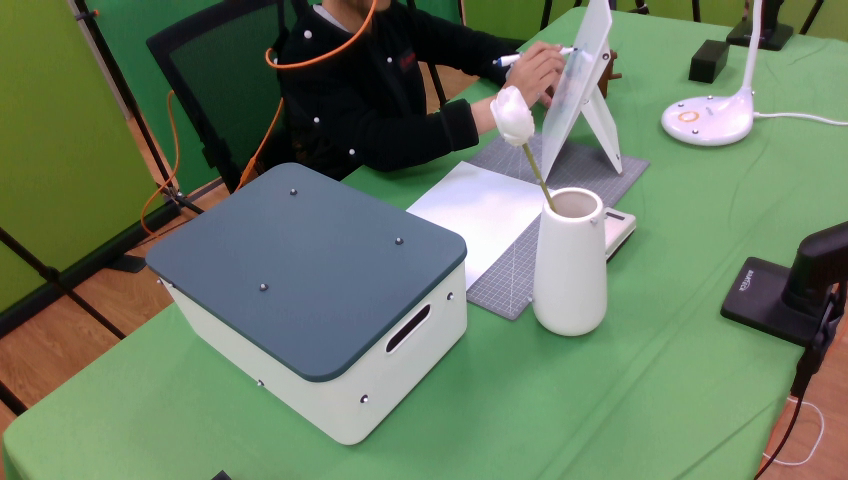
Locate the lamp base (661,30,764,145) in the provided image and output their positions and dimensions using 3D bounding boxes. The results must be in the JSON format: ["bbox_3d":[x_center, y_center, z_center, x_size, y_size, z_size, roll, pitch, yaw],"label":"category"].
[{"bbox_3d":[0.535,-0.287,1.096,0.179,0.181,0.159,-10,40,-4],"label":"lamp base"}]

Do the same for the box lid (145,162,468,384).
[{"bbox_3d":[-0.157,0.014,0.769,0.368,0.015,0.264,25,51,33],"label":"box lid"}]

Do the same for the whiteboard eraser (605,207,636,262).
[{"bbox_3d":[0.273,-0.003,0.919,0.055,0.042,0.113,27,51,33],"label":"whiteboard eraser"}]

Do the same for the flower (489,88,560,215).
[{"bbox_3d":[0.159,-0.028,0.720,0.038,0.364,0.044,-14,44,23],"label":"flower"}]

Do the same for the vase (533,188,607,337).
[{"bbox_3d":[0.187,0.033,0.771,0.098,0.201,0.097,-6,41,6],"label":"vase"}]

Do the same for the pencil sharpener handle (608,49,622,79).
[{"bbox_3d":[0.394,-0.368,1.253,0.030,0.068,0.036,-9,32,1],"label":"pencil sharpener handle"}]

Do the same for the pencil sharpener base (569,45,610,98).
[{"bbox_3d":[0.345,-0.352,1.263,0.077,0.107,0.061,-9,40,1],"label":"pencil sharpener base"}]

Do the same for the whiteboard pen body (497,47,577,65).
[{"bbox_3d":[0.198,-0.324,1.058,0.141,0.017,0.017,-8,40,2],"label":"whiteboard pen body"}]

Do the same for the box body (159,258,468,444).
[{"bbox_3d":[-0.147,0.072,0.816,0.361,0.161,0.255,24,50,33],"label":"box body"}]

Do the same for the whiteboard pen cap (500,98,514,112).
[{"bbox_3d":[0.176,-0.288,1.289,0.018,0.018,0.033,29,63,36],"label":"whiteboard pen cap"}]

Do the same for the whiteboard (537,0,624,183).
[{"bbox_3d":[0.316,-0.256,1.047,0.144,0.306,0.216,15,42,-1],"label":"whiteboard"}]
